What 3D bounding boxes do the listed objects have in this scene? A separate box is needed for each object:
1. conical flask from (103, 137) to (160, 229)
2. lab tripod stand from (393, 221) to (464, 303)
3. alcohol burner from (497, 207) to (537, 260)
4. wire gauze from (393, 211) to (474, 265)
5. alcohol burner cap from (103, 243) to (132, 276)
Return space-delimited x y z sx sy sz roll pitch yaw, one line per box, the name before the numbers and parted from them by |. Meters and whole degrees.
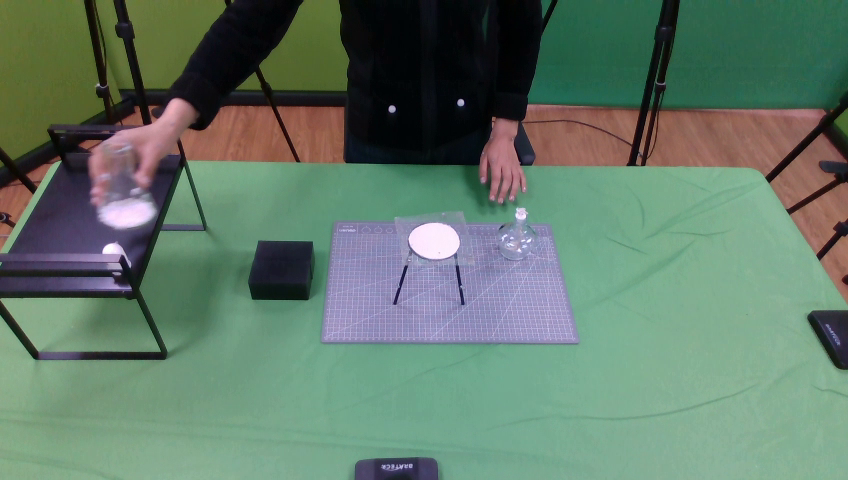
conical flask | -0.413 -0.081 0.844 0.075 0.122 0.075 7 36 -5
lab tripod stand | 0.010 0.045 1.074 0.148 0.132 0.147 2 48 -2
alcohol burner | 0.180 -0.018 1.163 0.078 0.120 0.077 1 48 -1
wire gauze | 0.015 -0.003 1.028 0.125 0.011 0.120 -4 47 -7
alcohol burner cap | -0.446 0.025 0.875 0.034 0.048 0.033 3 45 -3
